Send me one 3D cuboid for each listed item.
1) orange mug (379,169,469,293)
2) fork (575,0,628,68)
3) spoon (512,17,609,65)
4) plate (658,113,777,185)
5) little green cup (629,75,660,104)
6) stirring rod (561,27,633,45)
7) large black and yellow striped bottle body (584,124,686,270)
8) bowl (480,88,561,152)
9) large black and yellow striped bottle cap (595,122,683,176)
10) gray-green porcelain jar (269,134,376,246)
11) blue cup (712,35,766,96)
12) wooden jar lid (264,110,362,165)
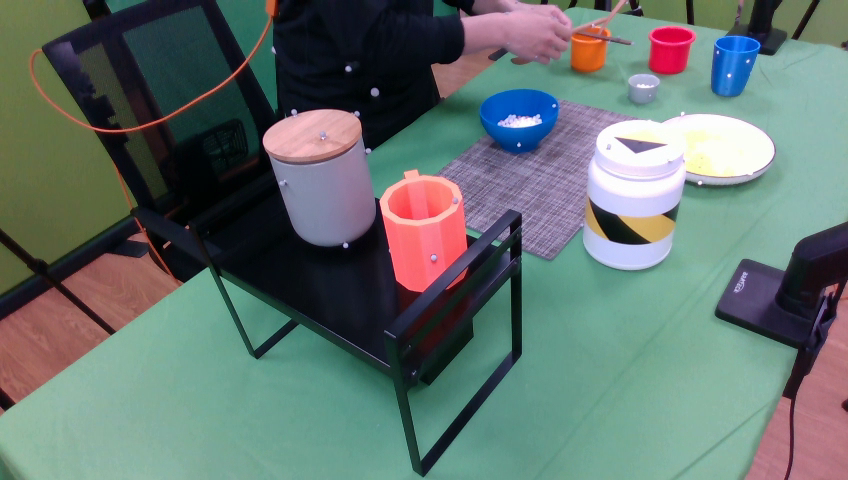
[{"bbox_3d":[-0.002,-0.019,0.665,0.083,0.101,0.125,-12,45,-4],"label":"orange mug"},{"bbox_3d":[0.413,-0.481,1.377,0.207,0.019,0.028,-57,43,12],"label":"fork"},{"bbox_3d":[0.261,-0.384,1.164,0.193,0.021,0.042,-26,-5,14],"label":"spoon"},{"bbox_3d":[0.506,-0.158,1.073,0.209,0.038,0.208,-4,40,4],"label":"plate"},{"bbox_3d":[0.457,-0.314,1.260,0.061,0.039,0.061,-4,40,4],"label":"little green cup"},{"bbox_3d":[0.382,-0.454,1.345,0.174,0.006,0.014,27,52,33],"label":"stirring rod"},{"bbox_3d":[0.304,-0.063,0.880,0.131,0.185,0.130,-5,41,5],"label":"large black and yellow striped bottle body"},{"bbox_3d":[0.185,-0.222,1.161,0.151,0.077,0.150,-4,40,4],"label":"bowl"},{"bbox_3d":[0.293,-0.126,0.826,0.115,0.019,0.114,-3,40,3],"label":"large black and yellow striped bottle cap"},{"bbox_3d":[-0.115,-0.064,0.715,0.106,0.127,0.105,-4,40,4],"label":"gray-green porcelain jar"},{"bbox_3d":[0.627,-0.350,1.227,0.092,0.100,0.092,-4,39,4],"label":"blue cup"},{"bbox_3d":[-0.122,-0.112,0.673,0.108,0.021,0.108,-4,37,4],"label":"wooden jar lid"}]
